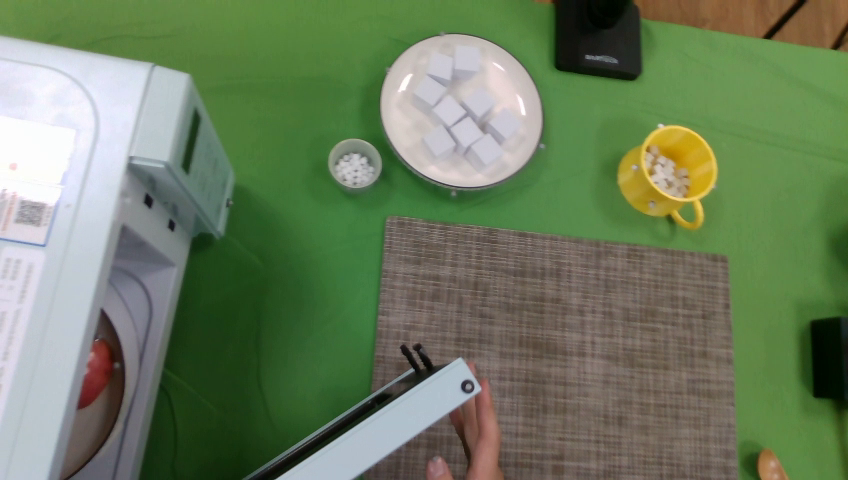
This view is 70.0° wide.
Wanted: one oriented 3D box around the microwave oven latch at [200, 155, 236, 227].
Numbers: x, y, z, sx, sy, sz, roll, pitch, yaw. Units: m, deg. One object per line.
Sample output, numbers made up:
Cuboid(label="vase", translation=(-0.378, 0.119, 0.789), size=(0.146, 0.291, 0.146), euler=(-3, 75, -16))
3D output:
Cuboid(label="microwave oven latch", translation=(-0.231, -0.057, 0.674), size=(0.030, 0.029, 0.079), euler=(11, 77, -7))

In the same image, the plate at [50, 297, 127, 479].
Cuboid(label="plate", translation=(-0.384, 0.130, 0.564), size=(0.209, 0.038, 0.208), euler=(2, 77, -9))

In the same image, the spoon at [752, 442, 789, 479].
Cuboid(label="spoon", translation=(0.461, 0.323, 0.732), size=(0.193, 0.022, 0.041), euler=(48, 57, 3))

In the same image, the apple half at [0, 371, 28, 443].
Cuboid(label="apple half", translation=(-0.403, 0.151, 0.534), size=(0.081, 0.053, 0.074), euler=(22, 86, -19))

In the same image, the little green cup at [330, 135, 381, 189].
Cuboid(label="little green cup", translation=(-0.083, -0.090, 0.723), size=(0.062, 0.038, 0.061), euler=(2, 78, -10))

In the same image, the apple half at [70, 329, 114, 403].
Cuboid(label="apple half", translation=(-0.338, 0.116, 0.568), size=(0.081, 0.033, 0.081), euler=(1, 78, -5))

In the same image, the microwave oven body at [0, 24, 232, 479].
Cuboid(label="microwave oven body", translation=(-0.385, 0.067, 0.522), size=(0.327, 0.260, 0.439), euler=(10, 77, -7))

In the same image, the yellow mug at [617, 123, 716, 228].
Cuboid(label="yellow mug", translation=(0.315, -0.077, 0.774), size=(0.100, 0.064, 0.130), euler=(-22, 83, -14))

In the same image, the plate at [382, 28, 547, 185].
Cuboid(label="plate", translation=(0.050, -0.165, 0.764), size=(0.208, 0.039, 0.206), euler=(2, 77, -9))

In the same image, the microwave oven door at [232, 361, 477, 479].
Cuboid(label="microwave oven door", translation=(-0.130, 0.211, 0.528), size=(0.356, 0.244, 0.039), euler=(-31, 83, -14))
